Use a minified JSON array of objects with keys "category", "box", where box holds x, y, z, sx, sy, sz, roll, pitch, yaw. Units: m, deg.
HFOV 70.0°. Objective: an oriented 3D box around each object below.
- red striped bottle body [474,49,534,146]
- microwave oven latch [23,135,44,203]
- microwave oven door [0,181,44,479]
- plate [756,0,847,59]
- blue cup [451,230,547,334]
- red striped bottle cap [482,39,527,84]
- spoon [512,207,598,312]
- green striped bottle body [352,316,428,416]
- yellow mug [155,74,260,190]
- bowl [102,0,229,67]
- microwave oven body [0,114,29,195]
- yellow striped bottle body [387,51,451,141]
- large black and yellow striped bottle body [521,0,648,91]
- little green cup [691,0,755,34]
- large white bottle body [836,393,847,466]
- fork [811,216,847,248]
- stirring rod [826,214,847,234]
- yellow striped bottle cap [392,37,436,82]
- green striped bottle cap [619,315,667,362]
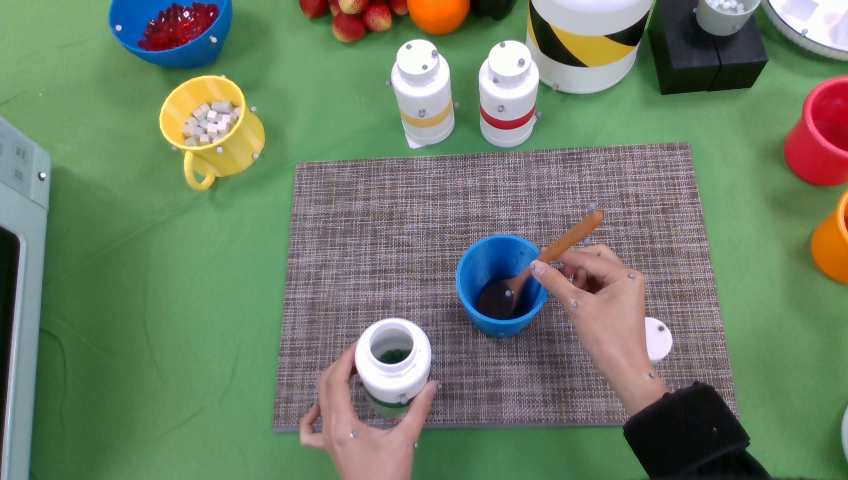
[{"category":"red striped bottle body","box":[0.088,-0.159,0.657,0.063,0.121,0.062,-4,66,9]},{"category":"microwave oven latch","box":[-0.463,-0.081,0.704,0.030,0.030,0.078,-9,69,2]},{"category":"microwave oven door","box":[-0.438,0.081,0.529,0.039,0.245,0.353,-12,68,2]},{"category":"plate","box":[0.494,-0.295,0.715,0.209,0.038,0.207,-2,69,5]},{"category":"blue cup","box":[0.070,0.049,0.582,0.092,0.101,0.092,-1,68,4]},{"category":"red striped bottle cap","box":[0.081,-0.180,0.609,0.044,0.018,0.044,0,67,1]},{"category":"spoon","box":[0.108,0.022,0.557,0.022,0.194,0.041,3,63,-12]},{"category":"green striped bottle body","box":[-0.028,0.107,0.521,0.063,0.120,0.062,0,61,0]},{"category":"yellow mug","box":[-0.254,-0.120,0.704,0.100,0.064,0.130,7,70,8]},{"category":"bowl","box":[-0.309,-0.273,0.764,0.151,0.077,0.150,-2,68,4]},{"category":"microwave oven body","box":[-0.587,0.073,0.552,0.326,0.262,0.438,-11,68,1]},{"category":"yellow striped bottle body","box":[-0.005,-0.166,0.668,0.063,0.121,0.062,-2,68,6]},{"category":"large black and yellow striped bottle body","box":[0.174,-0.265,0.656,0.130,0.185,0.130,-2,68,5]},{"category":"little green cup","box":[0.325,-0.259,0.662,0.061,0.039,0.061,-2,67,4]},{"category":"large white bottle body","box":[0.430,0.151,0.465,0.130,0.186,0.129,-2,68,5]},{"category":"fork","box":[0.447,0.012,0.538,0.028,0.019,0.205,-40,26,-9]},{"category":"stirring rod","box":[0.417,0.012,0.548,0.014,0.006,0.175,0,25,3]},{"category":"yellow striped bottle cap","box":[-0.010,-0.185,0.621,0.044,0.019,0.044,-2,70,4]},{"category":"green striped bottle cap","box":[0.215,0.097,0.596,0.044,0.020,0.044,-2,65,5]}]
